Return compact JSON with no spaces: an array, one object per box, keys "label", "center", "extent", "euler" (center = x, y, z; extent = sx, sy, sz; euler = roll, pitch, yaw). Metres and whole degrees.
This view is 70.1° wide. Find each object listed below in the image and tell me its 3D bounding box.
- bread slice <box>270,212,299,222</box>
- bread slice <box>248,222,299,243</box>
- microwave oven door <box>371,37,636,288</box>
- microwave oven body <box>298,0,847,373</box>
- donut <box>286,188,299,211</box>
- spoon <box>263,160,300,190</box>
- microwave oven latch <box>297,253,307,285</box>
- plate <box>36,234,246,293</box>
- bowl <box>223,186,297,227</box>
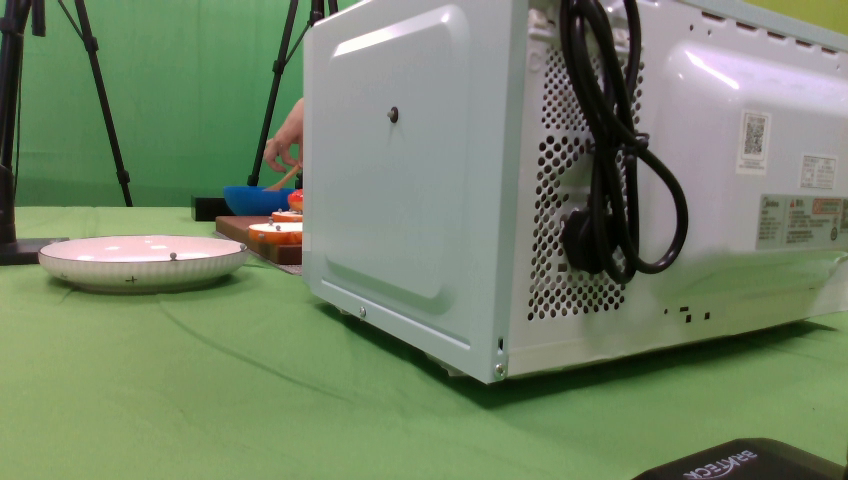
[{"label":"bread slice","center":[-0.198,-0.038,1.051],"extent":[0.132,0.019,0.104],"euler":[0,6,-31]},{"label":"bread slice","center":[-0.174,-0.012,0.844],"extent":[0.135,0.018,0.106],"euler":[-6,10,-44]},{"label":"microwave oven door","center":[0.109,-0.080,0.686],"extent":[0.358,0.243,0.039],"euler":[-2,9,-33]},{"label":"microwave oven body","center":[0.151,-0.055,0.542],"extent":[0.444,0.260,0.324],"euler":[-1,7,-33]},{"label":"donut","center":[-0.190,-0.068,1.055],"extent":[0.099,0.048,0.099],"euler":[3,7,0]},{"label":"spoon","center":[-0.293,-0.133,1.287],"extent":[0.041,0.194,0.021],"euler":[44,-15,-9]},{"label":"microwave oven latch","center":[-0.082,0.027,0.582],"extent":[0.079,0.029,0.030],"euler":[-1,7,-32]},{"label":"plate","center":[-0.305,0.026,0.668],"extent":[0.208,0.039,0.207],"euler":[3,7,0]},{"label":"bowl","center":[-0.330,-0.068,1.230],"extent":[0.151,0.077,0.151],"euler":[3,7,0]}]
